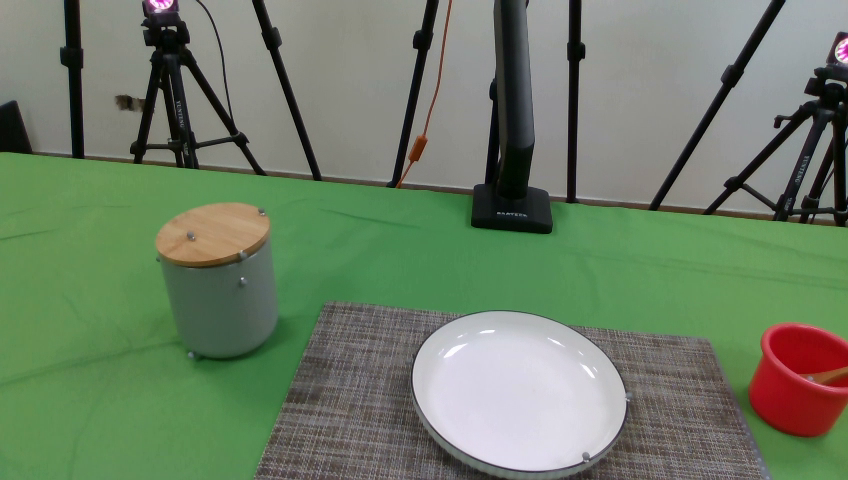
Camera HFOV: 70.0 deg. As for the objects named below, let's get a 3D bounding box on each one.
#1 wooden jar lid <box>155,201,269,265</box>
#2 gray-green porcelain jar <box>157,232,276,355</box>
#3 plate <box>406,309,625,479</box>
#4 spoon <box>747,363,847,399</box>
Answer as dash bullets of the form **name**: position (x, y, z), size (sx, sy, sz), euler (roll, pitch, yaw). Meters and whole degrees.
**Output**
- **wooden jar lid**: position (-0.209, -0.005, 0.603), size (0.108, 0.021, 0.107), euler (0, 34, 0)
- **gray-green porcelain jar**: position (-0.213, 0.049, 0.638), size (0.106, 0.127, 0.105), euler (3, 34, -1)
- **plate**: position (0.086, 0.147, 0.591), size (0.208, 0.039, 0.205), euler (3, 33, -1)
- **spoon**: position (0.407, 0.122, 0.571), size (0.193, 0.022, 0.041), euler (-29, 10, 40)
